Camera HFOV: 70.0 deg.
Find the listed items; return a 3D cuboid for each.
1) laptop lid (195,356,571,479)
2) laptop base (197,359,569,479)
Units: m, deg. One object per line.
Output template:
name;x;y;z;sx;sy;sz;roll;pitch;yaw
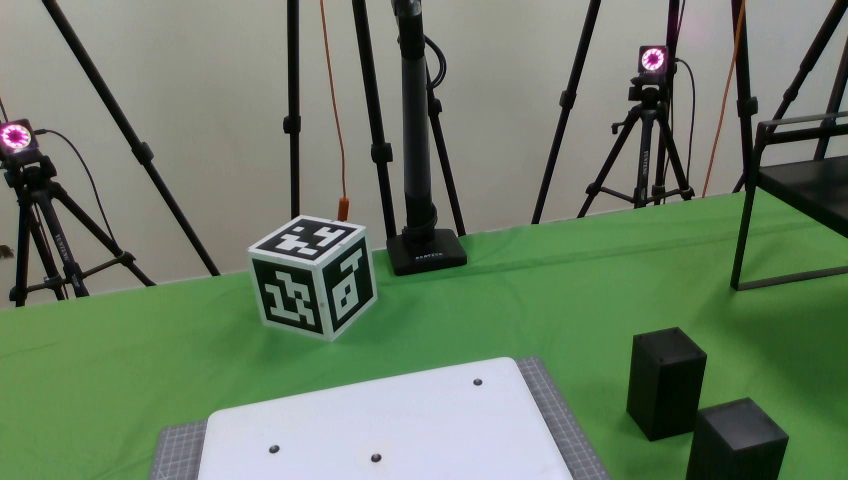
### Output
laptop lid;-0.048;0.218;0.599;0.357;0.013;0.239;-8;29;-6
laptop base;-0.048;0.228;0.607;0.355;0.023;0.233;-9;30;-8
